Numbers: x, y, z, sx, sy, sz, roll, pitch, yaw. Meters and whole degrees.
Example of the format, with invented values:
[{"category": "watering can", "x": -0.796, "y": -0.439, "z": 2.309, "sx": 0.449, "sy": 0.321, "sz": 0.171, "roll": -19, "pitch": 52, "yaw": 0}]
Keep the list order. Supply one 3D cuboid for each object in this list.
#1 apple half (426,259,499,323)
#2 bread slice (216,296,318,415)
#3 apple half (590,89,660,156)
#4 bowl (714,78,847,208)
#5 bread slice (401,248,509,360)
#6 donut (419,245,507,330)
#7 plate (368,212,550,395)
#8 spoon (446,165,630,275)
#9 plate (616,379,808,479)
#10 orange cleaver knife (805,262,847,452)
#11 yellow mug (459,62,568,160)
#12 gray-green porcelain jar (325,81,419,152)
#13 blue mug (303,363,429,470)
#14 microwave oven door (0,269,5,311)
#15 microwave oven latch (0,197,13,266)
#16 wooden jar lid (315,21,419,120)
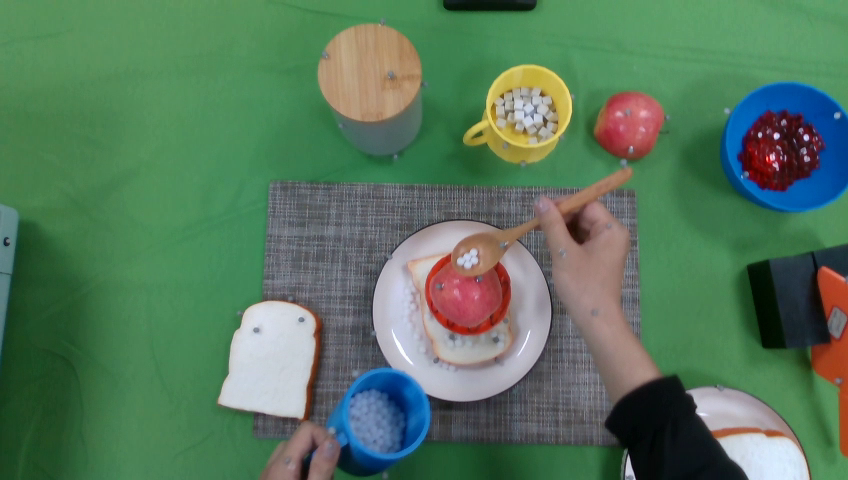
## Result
[{"category": "apple half", "x": 0.042, "y": 0.049, "z": 0.642, "sx": 0.081, "sy": 0.033, "sz": 0.081, "roll": -1, "pitch": 82, "yaw": 8}, {"category": "bread slice", "x": -0.180, "y": 0.131, "z": 0.705, "sx": 0.105, "sy": 0.019, "sz": 0.131, "roll": 9, "pitch": 82, "yaw": 1}, {"category": "apple half", "x": 0.245, "y": -0.148, "z": 0.732, "sx": 0.074, "sy": 0.053, "sz": 0.080, "roll": 23, "pitch": 82, "yaw": 6}, {"category": "bowl", "x": 0.406, "y": -0.103, "z": 0.712, "sx": 0.151, "sy": 0.077, "sz": 0.151, "roll": 0, "pitch": 82, "yaw": 1}, {"category": "bread slice", "x": 0.043, "y": 0.070, "z": 0.702, "sx": 0.107, "sy": 0.018, "sz": 0.134, "roll": -16, "pitch": 83, "yaw": -1}, {"category": "donut", "x": 0.044, "y": 0.052, "z": 0.677, "sx": 0.099, "sy": 0.048, "sz": 0.098, "roll": 0, "pitch": 82, "yaw": 0}, {"category": "plate", "x": 0.039, "y": 0.073, "z": 0.702, "sx": 0.208, "sy": 0.039, "sz": 0.207, "roll": 0, "pitch": 81, "yaw": 0}, {"category": "spoon", "x": 0.104, "y": -0.018, "z": 0.573, "sx": 0.193, "sy": 0.022, "sz": 0.041, "roll": -29, "pitch": 84, "yaw": 27}, {"category": "plate", "x": 0.315, "y": 0.260, "z": 0.677, "sx": 0.209, "sy": 0.038, "sz": 0.208, "roll": 0, "pitch": 81, "yaw": 0}, {"category": "orange cleaver knife", "x": 0.454, "y": 0.130, "z": 0.674, "sx": 0.012, "sy": 0.077, "sz": 0.212, "roll": -10, "pitch": 103, "yaw": -8}, {"category": "yellow mug", "x": 0.103, "y": -0.147, "z": 0.726, "sx": 0.131, "sy": 0.064, "sz": 0.099, "roll": -22, "pitch": 81, "yaw": -3}, {"category": "gray-green porcelain jar", "x": -0.059, "y": -0.165, "z": 0.699, "sx": 0.106, "sy": 0.127, "sz": 0.105, "roll": 0, "pitch": 81, "yaw": 0}, {"category": "blue mug", "x": -0.063, "y": 0.181, "z": 0.586, "sx": 0.117, "sy": 0.106, "sz": 0.082, "roll": -23, "pitch": 72, "yaw": -28}, {"category": "microwave oven door", "x": -0.511, "y": 0.189, "z": 0.568, "sx": 0.039, "sy": 0.244, "sz": 0.354, "roll": 1, "pitch": 81, "yaw": 1}, {"category": "microwave oven latch", "x": -0.501, "y": -0.011, "z": 0.701, "sx": 0.030, "sy": 0.029, "sz": 0.079, "roll": 5, "pitch": 82, "yaw": 1}, {"category": "wooden jar lid", "x": -0.059, "y": -0.176, "z": 0.637, "sx": 0.108, "sy": 0.021, "sz": 0.108, "roll": 0, "pitch": 79, "yaw": 1}]
